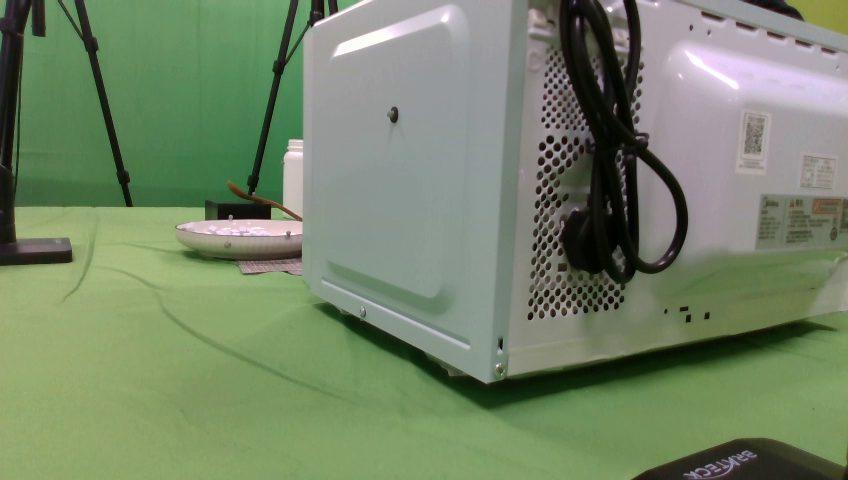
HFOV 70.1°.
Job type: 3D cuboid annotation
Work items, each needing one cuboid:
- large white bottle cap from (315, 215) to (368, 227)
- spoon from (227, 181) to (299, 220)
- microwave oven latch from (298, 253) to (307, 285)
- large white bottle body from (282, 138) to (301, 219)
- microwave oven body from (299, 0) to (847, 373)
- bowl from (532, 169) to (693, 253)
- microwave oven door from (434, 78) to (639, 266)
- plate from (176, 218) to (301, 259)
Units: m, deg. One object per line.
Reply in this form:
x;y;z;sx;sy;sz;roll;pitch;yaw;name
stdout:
-0.177;-0.041;1.308;0.115;0.018;0.115;2;6;0;large white bottle cap
-0.315;-0.074;1.235;0.195;0.021;0.041;24;-10;-37;spoon
-0.081;0.027;0.582;0.079;0.029;0.030;-1;7;-32;microwave oven latch
-0.265;-0.143;1.422;0.131;0.184;0.130;2;6;0;large white bottle body
0.151;-0.055;0.542;0.444;0.260;0.324;-2;7;-33;microwave oven body
0.180;-0.030;0.594;0.151;0.077;0.151;1;6;0;bowl
0.146;-0.106;0.906;0.039;0.243;0.354;-4;9;-40;microwave oven door
-0.248;-0.003;0.877;0.209;0.038;0.209;1;8;0;plate
